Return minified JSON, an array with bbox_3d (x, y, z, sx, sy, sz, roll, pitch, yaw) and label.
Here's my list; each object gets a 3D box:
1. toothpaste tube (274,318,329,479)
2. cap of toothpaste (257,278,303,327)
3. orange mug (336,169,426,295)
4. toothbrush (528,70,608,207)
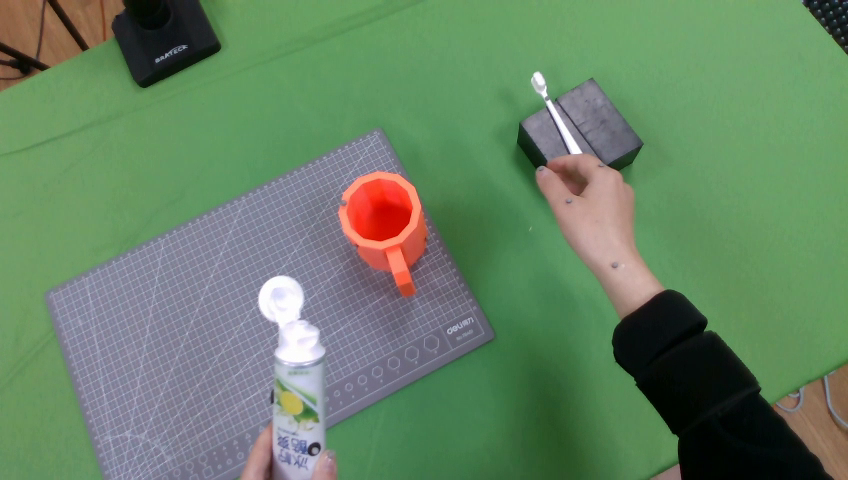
[{"bbox_3d":[-0.092,0.135,0.446,0.055,0.034,0.165,9,106,27],"label":"toothpaste tube"},{"bbox_3d":[-0.103,0.045,0.439,0.037,0.011,0.037,6,80,-36],"label":"cap of toothpaste"},{"bbox_3d":[-0.038,-0.004,0.663,0.083,0.101,0.125,-20,69,-1],"label":"orange mug"},{"bbox_3d":[0.159,-0.116,0.675,0.014,0.017,0.180,-23,74,-6],"label":"toothbrush"}]
